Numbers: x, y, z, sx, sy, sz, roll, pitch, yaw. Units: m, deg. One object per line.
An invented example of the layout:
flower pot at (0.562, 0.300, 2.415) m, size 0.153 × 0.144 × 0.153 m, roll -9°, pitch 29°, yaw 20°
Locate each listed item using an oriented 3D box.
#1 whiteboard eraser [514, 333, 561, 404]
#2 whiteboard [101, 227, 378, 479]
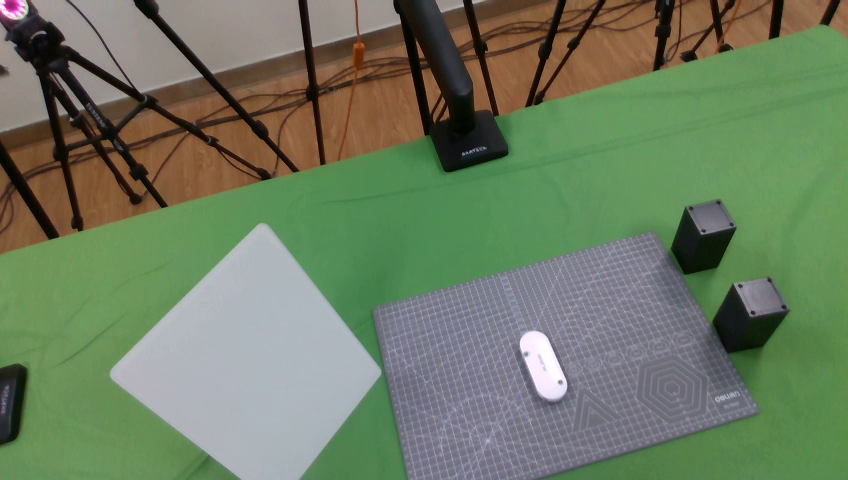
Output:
whiteboard eraser at (0.152, 0.173, 0.821) m, size 0.041 × 0.019 × 0.100 m, roll -16°, pitch 55°, yaw -4°
whiteboard at (-0.234, 0.150, 0.757) m, size 0.142 × 0.309 × 0.216 m, roll 16°, pitch 57°, yaw 42°
